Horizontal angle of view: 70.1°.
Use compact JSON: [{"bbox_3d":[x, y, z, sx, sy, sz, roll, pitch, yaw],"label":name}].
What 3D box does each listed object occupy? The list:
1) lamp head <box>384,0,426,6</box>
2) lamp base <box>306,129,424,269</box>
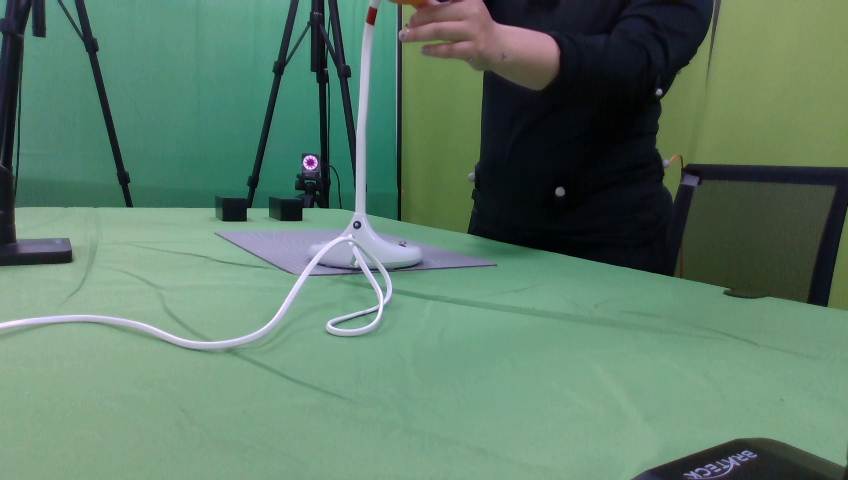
[{"bbox_3d":[-0.024,-0.325,0.671,0.112,0.123,0.112,4,3,0],"label":"lamp head"},{"bbox_3d":[-0.077,-0.057,0.811,0.161,0.180,0.179,2,10,-4],"label":"lamp base"}]
